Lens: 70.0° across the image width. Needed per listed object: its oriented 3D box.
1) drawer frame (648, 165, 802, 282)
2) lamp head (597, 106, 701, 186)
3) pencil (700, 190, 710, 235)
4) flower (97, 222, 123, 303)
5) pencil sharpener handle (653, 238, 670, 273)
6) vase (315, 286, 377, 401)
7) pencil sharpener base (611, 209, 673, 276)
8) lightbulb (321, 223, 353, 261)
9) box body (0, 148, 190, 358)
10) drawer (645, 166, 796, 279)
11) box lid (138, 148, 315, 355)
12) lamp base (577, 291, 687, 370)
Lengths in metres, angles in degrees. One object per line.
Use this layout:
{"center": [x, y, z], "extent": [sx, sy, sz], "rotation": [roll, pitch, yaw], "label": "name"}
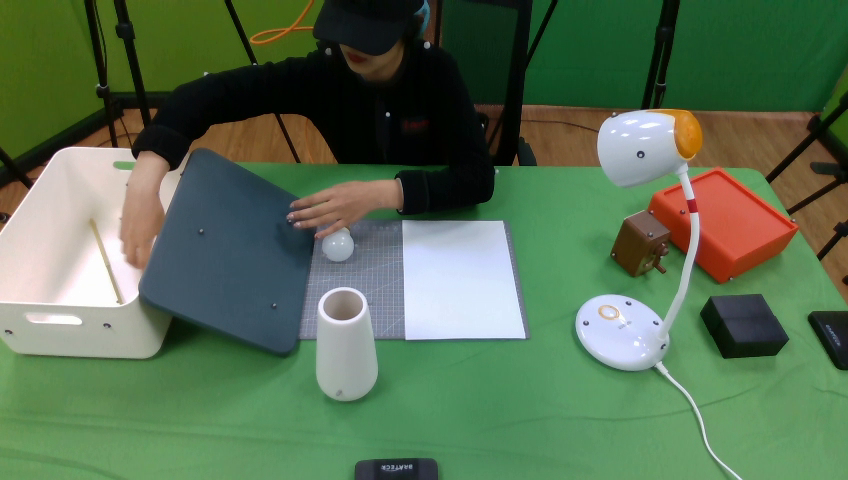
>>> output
{"center": [0.603, -0.040, 1.233], "extent": [0.202, 0.083, 0.212], "rotation": [-21, 51, -23], "label": "drawer frame"}
{"center": [0.328, -0.138, 0.865], "extent": [0.112, 0.113, 0.122], "rotation": [-36, 20, -32], "label": "lamp head"}
{"center": [0.584, -0.059, 1.256], "extent": [0.012, 0.012, 0.193], "rotation": [16, 34, 12], "label": "pencil"}
{"center": [-0.557, 0.069, 1.089], "extent": [0.044, 0.038, 0.359], "rotation": [-24, 47, -19], "label": "flower"}
{"center": [0.444, 0.030, 1.120], "extent": [0.036, 0.068, 0.030], "rotation": [-25, 52, -18], "label": "pencil sharpener handle"}
{"center": [-0.119, 0.159, 0.911], "extent": [0.098, 0.201, 0.097], "rotation": [2, 47, -2], "label": "vase"}
{"center": [0.416, 0.007, 1.158], "extent": [0.061, 0.107, 0.076], "rotation": [-21, 51, -22], "label": "pencil sharpener base"}
{"center": [-0.163, -0.001, 1.165], "extent": [0.059, 0.060, 0.107], "rotation": [4, 30, 0], "label": "lightbulb"}
{"center": [-0.545, 0.017, 1.045], "extent": [0.254, 0.161, 0.361], "rotation": [3, 46, -2], "label": "box body"}
{"center": [0.600, -0.041, 1.236], "extent": [0.195, 0.073, 0.210], "rotation": [-21, 51, -23], "label": "drawer"}
{"center": [-0.322, 0.008, 1.063], "extent": [0.264, 0.015, 0.369], "rotation": [30, 38, -28], "label": "box lid"}
{"center": [0.361, 0.110, 1.003], "extent": [0.160, 0.181, 0.178], "rotation": [-31, 57, -28], "label": "lamp base"}
